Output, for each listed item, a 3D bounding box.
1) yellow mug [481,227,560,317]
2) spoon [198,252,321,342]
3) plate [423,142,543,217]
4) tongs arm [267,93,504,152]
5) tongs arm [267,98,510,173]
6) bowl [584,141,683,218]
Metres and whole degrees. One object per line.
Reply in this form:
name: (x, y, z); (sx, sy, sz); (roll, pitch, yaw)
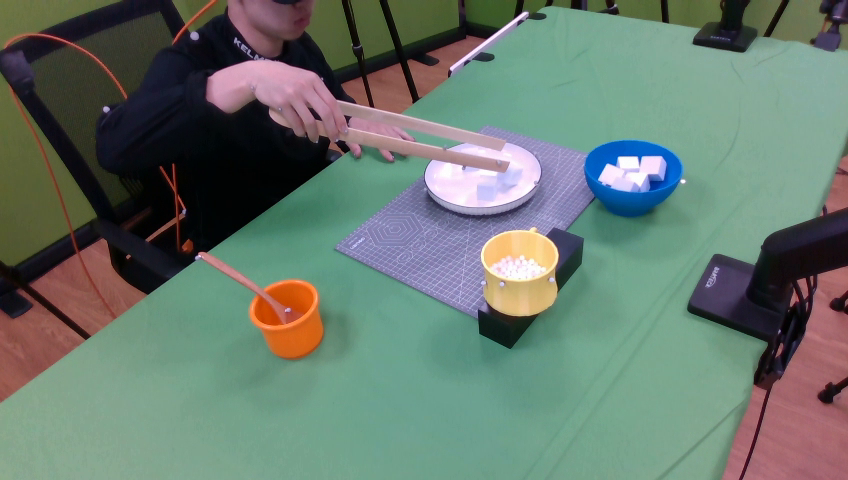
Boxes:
yellow mug: (0.131, 0.032, 0.801); (0.099, 0.064, 0.131); (11, 43, 20)
spoon: (-0.220, 0.076, 0.815); (0.021, 0.194, 0.041); (-36, 19, 40)
plate: (0.103, -0.103, 1.059); (0.207, 0.039, 0.206); (-4, 40, 4)
tongs arm: (-0.049, -0.184, 0.966); (0.390, 0.028, 0.028); (8, 51, -19)
tongs arm: (-0.047, -0.158, 0.943); (0.387, 0.026, 0.050); (7, 47, -19)
bowl: (0.335, -0.089, 0.982); (0.151, 0.077, 0.150); (-4, 40, 3)
